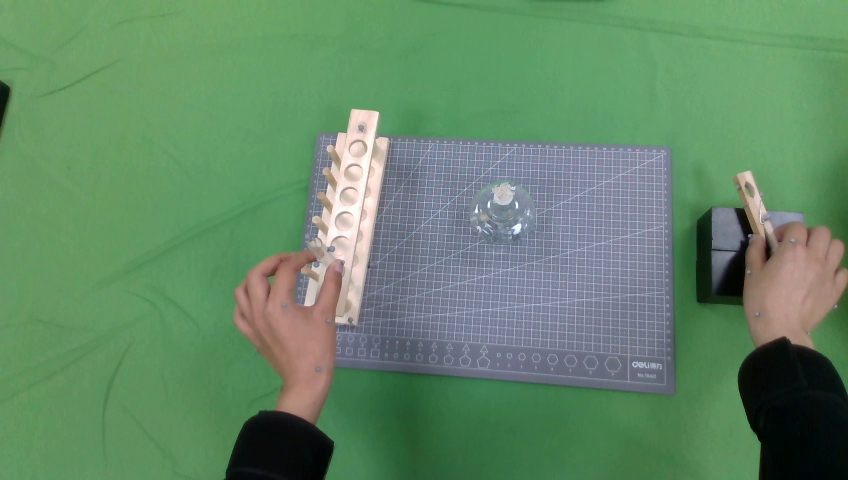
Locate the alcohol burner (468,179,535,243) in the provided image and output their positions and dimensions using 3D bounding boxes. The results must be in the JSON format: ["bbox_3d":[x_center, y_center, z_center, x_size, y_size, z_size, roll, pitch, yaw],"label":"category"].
[{"bbox_3d":[0.089,-0.037,0.690,0.078,0.120,0.077,-1,76,6],"label":"alcohol burner"}]

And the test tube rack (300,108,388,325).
[{"bbox_3d":[-0.100,-0.028,0.717,0.066,0.085,0.241,7,76,6],"label":"test tube rack"}]

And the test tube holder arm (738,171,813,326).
[{"bbox_3d":[0.377,0.007,0.654,0.013,0.015,0.177,-20,73,9],"label":"test tube holder arm"}]

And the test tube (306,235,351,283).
[{"bbox_3d":[-0.097,0.024,0.634,0.017,0.151,0.017,-1,73,4],"label":"test tube"}]

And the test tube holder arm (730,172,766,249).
[{"bbox_3d":[0.359,-0.033,0.667,0.010,0.015,0.087,-18,74,10],"label":"test tube holder arm"}]
